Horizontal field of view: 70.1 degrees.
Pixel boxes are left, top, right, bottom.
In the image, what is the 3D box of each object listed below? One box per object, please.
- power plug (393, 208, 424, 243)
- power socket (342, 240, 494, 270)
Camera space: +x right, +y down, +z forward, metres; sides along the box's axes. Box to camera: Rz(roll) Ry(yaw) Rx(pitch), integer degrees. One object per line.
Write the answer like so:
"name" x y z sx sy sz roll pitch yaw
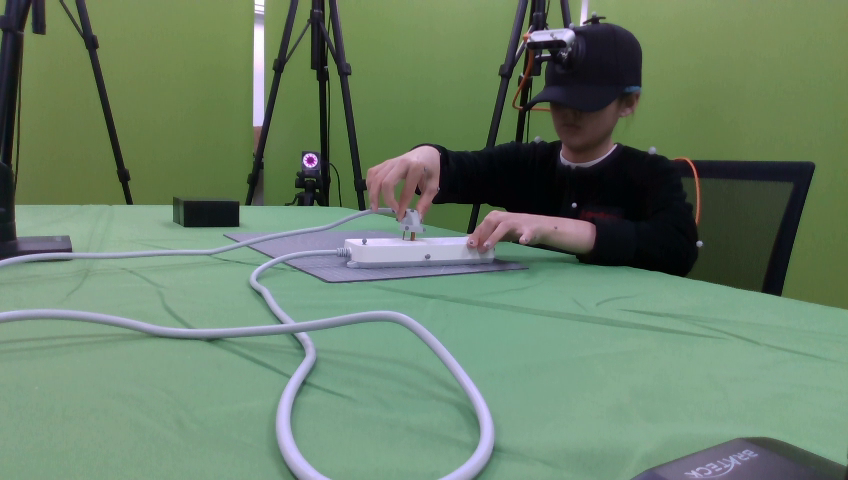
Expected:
"power plug" -0.024 -0.017 0.850 0.035 0.052 0.072 8 4 -16
"power socket" -0.006 0.018 0.831 0.228 0.032 0.072 -1 7 -26
